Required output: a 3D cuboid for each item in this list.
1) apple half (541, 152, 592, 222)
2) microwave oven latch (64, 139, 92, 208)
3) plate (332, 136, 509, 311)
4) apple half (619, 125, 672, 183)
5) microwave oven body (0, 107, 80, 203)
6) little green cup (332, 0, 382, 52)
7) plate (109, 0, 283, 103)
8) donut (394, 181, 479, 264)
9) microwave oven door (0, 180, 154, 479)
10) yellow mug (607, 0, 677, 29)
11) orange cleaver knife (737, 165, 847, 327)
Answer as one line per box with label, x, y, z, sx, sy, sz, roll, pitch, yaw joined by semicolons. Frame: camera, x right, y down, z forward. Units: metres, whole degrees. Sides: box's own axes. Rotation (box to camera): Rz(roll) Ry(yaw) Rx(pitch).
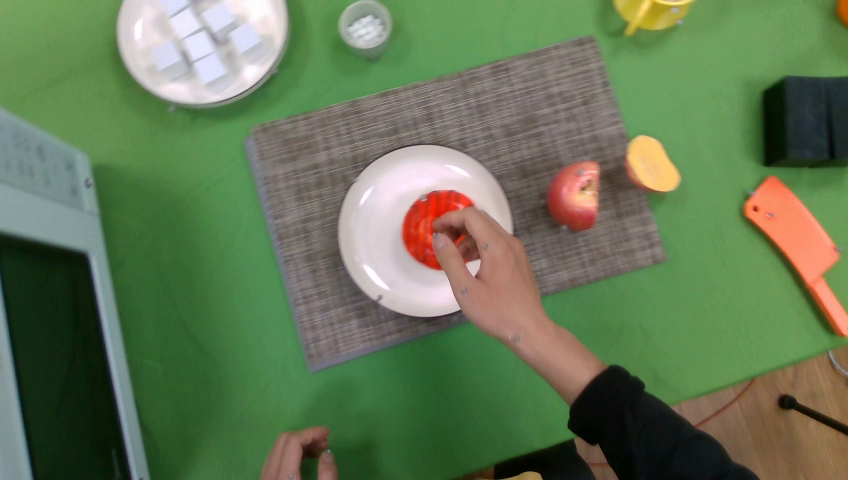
apple half;0.165;-0.061;0.711;0.053;0.075;0.080;2;87;3
microwave oven latch;-0.413;-0.075;0.706;0.030;0.029;0.079;-14;84;-3
plate;-0.004;-0.019;0.721;0.209;0.038;0.208;0;84;-1
apple half;0.259;-0.097;0.734;0.082;0.033;0.080;14;59;-25
microwave oven body;-0.510;0.120;0.586;0.326;0.260;0.440;-15;84;-3
little green cup;-0.082;-0.266;0.752;0.061;0.039;0.061;0;83;0
plate;-0.276;-0.266;0.749;0.208;0.039;0.207;0;83;-1
donut;0.014;-0.021;0.710;0.099;0.048;0.099;0;86;0
microwave oven door;-0.358;0.123;0.582;0.039;0.244;0.354;-15;84;-2
yellow mug;0.273;-0.319;0.750;0.100;0.064;0.130;30;85;3
orange cleaver knife;0.463;0.005;0.739;0.077;0.012;0.210;-32;84;-9
